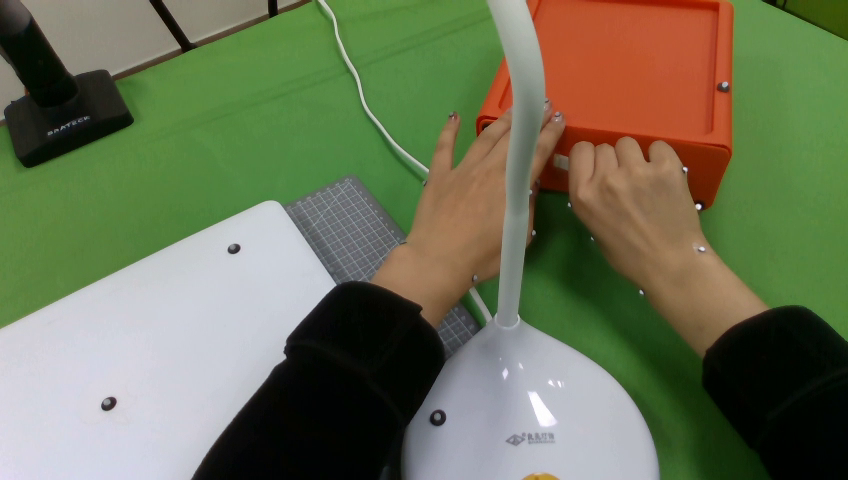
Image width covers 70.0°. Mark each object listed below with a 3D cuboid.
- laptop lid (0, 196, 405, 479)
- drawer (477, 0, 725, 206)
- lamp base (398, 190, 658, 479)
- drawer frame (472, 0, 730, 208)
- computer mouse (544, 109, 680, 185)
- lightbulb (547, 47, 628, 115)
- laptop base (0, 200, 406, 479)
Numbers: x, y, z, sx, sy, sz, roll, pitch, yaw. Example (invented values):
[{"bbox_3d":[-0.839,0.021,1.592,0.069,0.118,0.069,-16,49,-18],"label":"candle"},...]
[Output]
[{"bbox_3d":[-0.218,0.114,0.424,0.357,0.013,0.239,-28,56,-16],"label":"laptop lid"},{"bbox_3d":[0.169,-0.139,0.562,0.194,0.074,0.210,10,52,16],"label":"drawer"},{"bbox_3d":[0.055,0.074,0.332,0.161,0.182,0.177,-13,48,-6],"label":"lamp base"},{"bbox_3d":[0.168,-0.144,0.563,0.201,0.083,0.212,10,52,15],"label":"drawer frame"},{"bbox_3d":[0.166,-0.083,0.533,0.117,0.041,0.062,8,52,7],"label":"computer mouse"},{"bbox_3d":[0.159,-0.146,0.578,0.059,0.060,0.106,-19,35,-8],"label":"lightbulb"},{"bbox_3d":[-0.218,0.119,0.435,0.354,0.023,0.233,-29,57,-17],"label":"laptop base"}]
